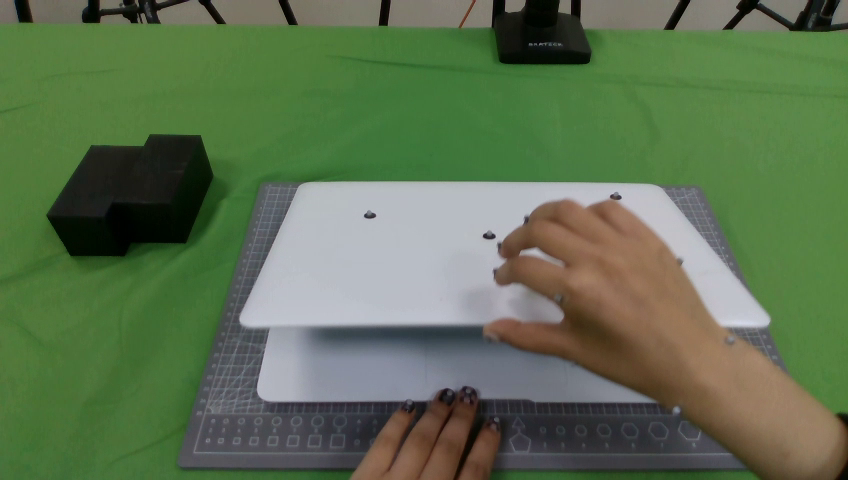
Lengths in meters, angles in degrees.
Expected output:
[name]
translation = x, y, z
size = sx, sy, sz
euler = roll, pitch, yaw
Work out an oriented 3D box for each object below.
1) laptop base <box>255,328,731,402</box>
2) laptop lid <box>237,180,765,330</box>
[laptop base]
translation = 0.052, 0.035, 0.522
size = 0.354, 0.023, 0.233
euler = 0, 49, -1
[laptop lid]
translation = 0.052, 0.000, 0.491
size = 0.357, 0.013, 0.239
euler = 1, 29, 1
